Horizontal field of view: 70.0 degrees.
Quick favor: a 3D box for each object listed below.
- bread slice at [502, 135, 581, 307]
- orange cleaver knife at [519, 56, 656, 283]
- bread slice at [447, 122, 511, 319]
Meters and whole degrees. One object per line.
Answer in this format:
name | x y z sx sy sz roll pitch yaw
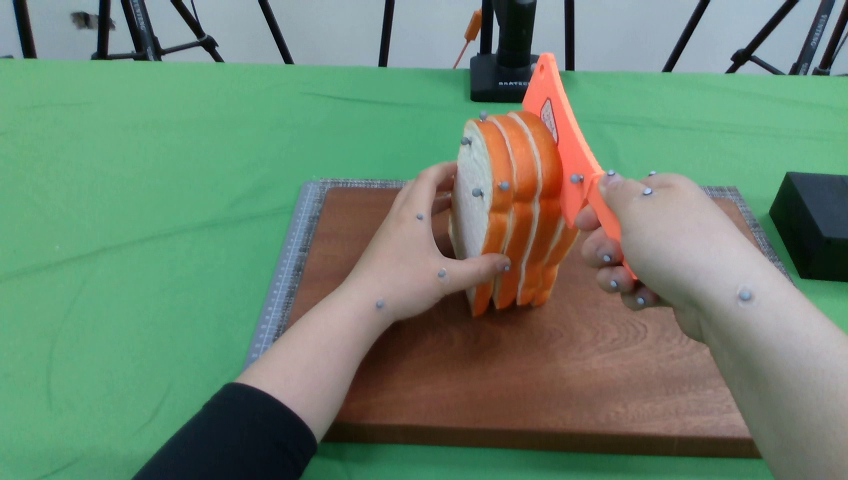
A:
bread slice | 0.091 -0.027 0.481 0.019 0.132 0.103 1 42 -18
orange cleaver knife | 0.099 -0.044 0.406 0.012 0.078 0.209 -5 49 -10
bread slice | 0.041 -0.023 0.477 0.018 0.135 0.106 -4 38 -11
